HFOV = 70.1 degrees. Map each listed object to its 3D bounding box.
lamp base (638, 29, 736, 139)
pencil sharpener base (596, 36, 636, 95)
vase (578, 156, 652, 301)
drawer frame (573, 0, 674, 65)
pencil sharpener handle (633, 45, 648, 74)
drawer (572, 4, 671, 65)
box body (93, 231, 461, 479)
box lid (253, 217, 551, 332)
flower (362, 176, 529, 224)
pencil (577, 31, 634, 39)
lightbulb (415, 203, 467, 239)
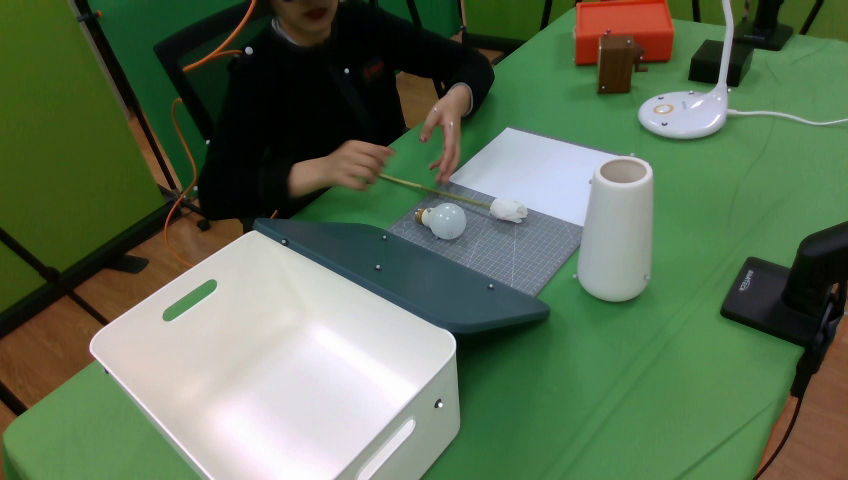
[{"bbox_3d":[0.501,-0.302,1.125,0.179,0.181,0.160,-4,40,3],"label":"lamp base"},{"bbox_3d":[0.406,-0.369,1.280,0.076,0.107,0.061,1,41,13],"label":"pencil sharpener base"},{"bbox_3d":[0.261,-0.011,0.812,0.098,0.201,0.097,-4,40,4],"label":"vase"},{"bbox_3d":[0.464,-0.492,1.434,0.213,0.083,0.201,1,40,12],"label":"drawer frame"},{"bbox_3d":[0.454,-0.378,1.262,0.030,0.068,0.036,1,47,13],"label":"pencil sharpener handle"},{"bbox_3d":[0.461,-0.490,1.435,0.211,0.073,0.194,2,40,12],"label":"drawer"},{"bbox_3d":[-0.162,0.170,0.708,0.361,0.161,0.255,25,50,34],"label":"box body"},{"bbox_3d":[-0.031,0.037,0.833,0.368,0.015,0.265,24,12,33],"label":"box lid"},{"bbox_3d":[0.023,-0.083,1.086,0.359,0.038,0.044,16,16,33],"label":"flower"},{"bbox_3d":[0.431,-0.489,1.443,0.012,0.012,0.192,-25,30,-18],"label":"pencil"},{"bbox_3d":[0.024,-0.034,0.998,0.060,0.060,0.107,-38,32,-30],"label":"lightbulb"}]
